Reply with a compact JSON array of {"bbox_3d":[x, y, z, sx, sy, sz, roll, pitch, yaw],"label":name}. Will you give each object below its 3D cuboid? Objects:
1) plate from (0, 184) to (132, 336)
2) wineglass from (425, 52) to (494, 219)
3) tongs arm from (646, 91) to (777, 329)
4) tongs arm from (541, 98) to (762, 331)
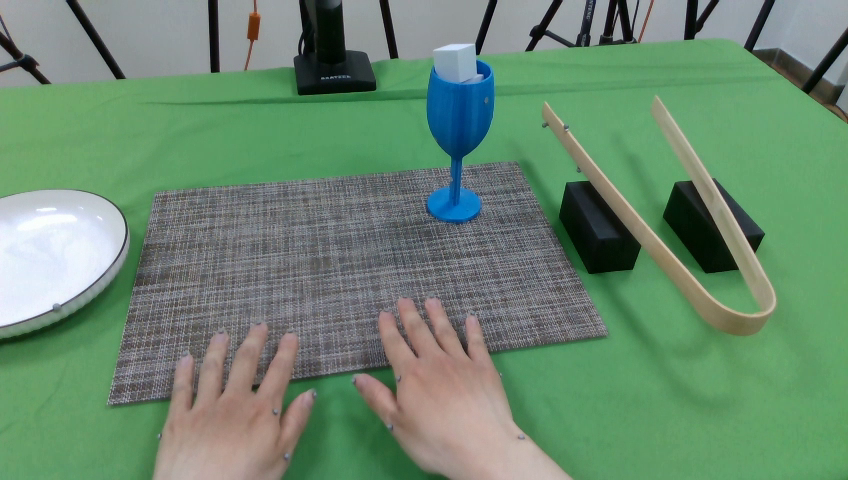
[{"bbox_3d":[-0.401,0.019,0.608,0.209,0.038,0.207,1,42,-1],"label":"plate"},{"bbox_3d":[0.036,-0.110,0.663,0.074,0.174,0.073,1,42,0],"label":"wineglass"},{"bbox_3d":[0.298,-0.059,0.661,0.028,0.028,0.383,5,42,-5],"label":"tongs arm"},{"bbox_3d":[0.219,-0.052,0.650,0.051,0.027,0.380,-6,43,-12],"label":"tongs arm"}]
